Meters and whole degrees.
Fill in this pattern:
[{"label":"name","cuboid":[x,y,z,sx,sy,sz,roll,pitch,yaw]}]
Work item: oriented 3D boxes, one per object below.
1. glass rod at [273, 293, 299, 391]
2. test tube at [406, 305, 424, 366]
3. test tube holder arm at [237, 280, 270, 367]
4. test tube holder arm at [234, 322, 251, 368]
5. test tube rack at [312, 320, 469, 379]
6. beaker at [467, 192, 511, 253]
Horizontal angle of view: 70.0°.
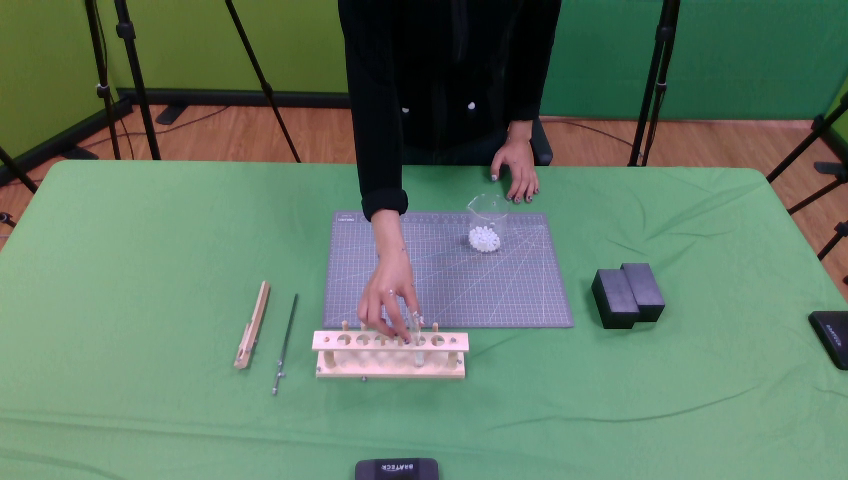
[{"label":"glass rod","cuboid":[-0.233,0.167,1.030,0.008,0.008,0.198,3,46,0]},{"label":"test tube","cuboid":[-0.013,0.151,0.939,0.017,0.151,0.017,-3,47,3]},{"label":"test tube holder arm","cuboid":[-0.290,0.140,1.042,0.013,0.015,0.177,-17,41,22]},{"label":"test tube holder arm","cuboid":[-0.299,0.173,1.013,0.010,0.015,0.087,-17,41,22]},{"label":"test tube rack","cuboid":[-0.054,0.173,0.984,0.242,0.085,0.066,1,46,-3]},{"label":"beaker","cuboid":[0.121,-0.031,1.179,0.084,0.101,0.073,3,46,0]}]
